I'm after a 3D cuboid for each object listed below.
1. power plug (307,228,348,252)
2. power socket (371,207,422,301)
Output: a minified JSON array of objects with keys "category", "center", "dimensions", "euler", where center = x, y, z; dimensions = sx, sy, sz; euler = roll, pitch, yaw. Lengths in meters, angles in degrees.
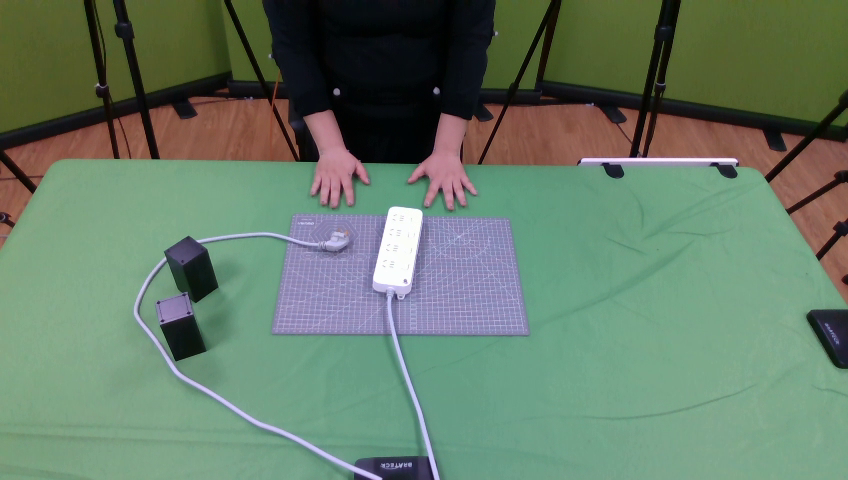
[{"category":"power plug","center":[-0.183,-0.005,1.170],"dimensions":[0.072,0.035,0.052],"euler":[17,53,-3]},{"category":"power socket","center":[-0.051,0.018,1.165],"dimensions":[0.072,0.033,0.225],"euler":[6,46,3]}]
